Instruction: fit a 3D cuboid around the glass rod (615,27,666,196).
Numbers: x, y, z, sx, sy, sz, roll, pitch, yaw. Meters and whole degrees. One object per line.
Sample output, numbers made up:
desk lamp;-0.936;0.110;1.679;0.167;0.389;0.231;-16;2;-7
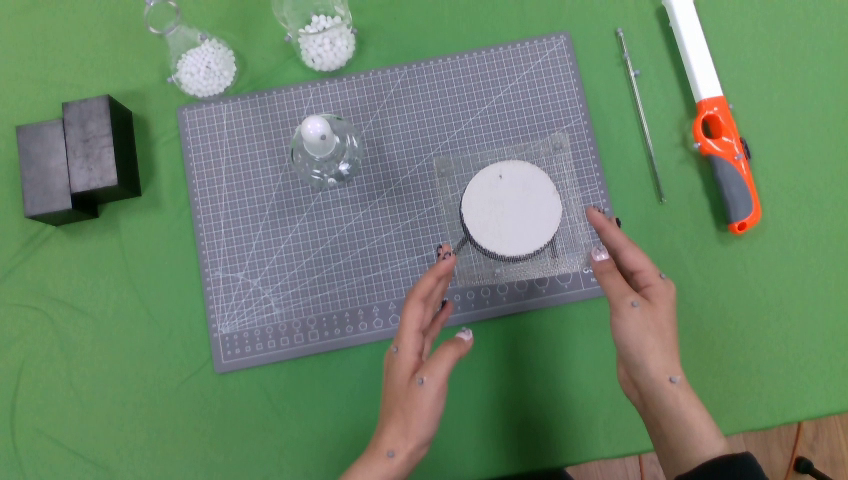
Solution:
glass rod;0.239;-0.144;0.671;0.008;0.008;0.199;-12;82;-1

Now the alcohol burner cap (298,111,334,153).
alcohol burner cap;-0.104;-0.106;0.580;0.034;0.048;0.033;1;81;-4

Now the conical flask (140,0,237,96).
conical flask;-0.249;-0.206;0.631;0.075;0.122;0.075;0;82;1

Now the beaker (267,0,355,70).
beaker;-0.112;-0.231;0.644;0.084;0.100;0.074;24;83;4

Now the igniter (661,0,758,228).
igniter;0.310;-0.149;0.661;0.057;0.025;0.275;-12;82;-11

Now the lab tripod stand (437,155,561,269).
lab tripod stand;0.074;-0.018;0.591;0.148;0.132;0.148;0;84;1

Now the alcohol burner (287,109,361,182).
alcohol burner;-0.105;-0.100;0.615;0.078;0.119;0.077;0;83;0

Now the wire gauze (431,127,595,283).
wire gauze;0.076;-0.030;0.525;0.125;0.011;0.121;-10;82;0
